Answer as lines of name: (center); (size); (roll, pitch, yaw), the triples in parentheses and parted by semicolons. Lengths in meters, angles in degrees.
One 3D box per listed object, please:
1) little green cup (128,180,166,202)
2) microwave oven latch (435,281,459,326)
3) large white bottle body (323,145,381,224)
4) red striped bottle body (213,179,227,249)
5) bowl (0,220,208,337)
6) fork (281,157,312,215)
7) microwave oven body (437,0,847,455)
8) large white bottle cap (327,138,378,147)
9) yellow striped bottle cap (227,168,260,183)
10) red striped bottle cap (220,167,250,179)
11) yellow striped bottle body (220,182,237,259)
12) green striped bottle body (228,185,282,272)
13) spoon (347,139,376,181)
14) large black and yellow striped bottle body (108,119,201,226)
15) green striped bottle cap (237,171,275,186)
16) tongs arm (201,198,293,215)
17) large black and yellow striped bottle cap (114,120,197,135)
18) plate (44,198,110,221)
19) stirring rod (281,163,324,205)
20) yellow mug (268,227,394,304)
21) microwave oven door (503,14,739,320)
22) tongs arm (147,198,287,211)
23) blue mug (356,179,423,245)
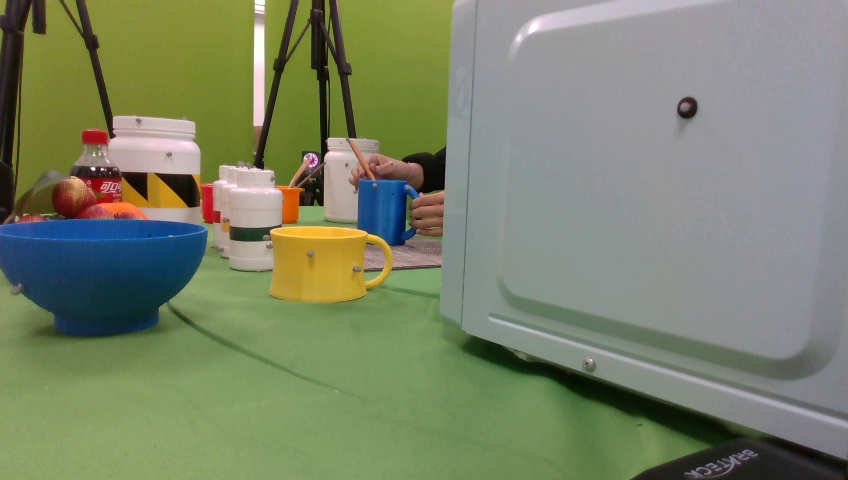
little green cup: (-0.485, -0.087, 1.062); (0.061, 0.038, 0.061); (-1, 6, 0)
microwave oven latch: (0.044, 0.046, 0.470); (0.079, 0.029, 0.030); (-3, 8, -40)
large white bottle body: (-0.163, -0.134, 1.369); (0.131, 0.184, 0.130); (2, 8, 0)
red striped bottle body: (-0.284, -0.048, 0.909); (0.063, 0.119, 0.063); (3, 10, 0)
bowl: (-0.251, 0.029, 0.479); (0.151, 0.077, 0.151); (2, 7, 0)
fork: (-0.289, -0.116, 1.321); (0.028, 0.019, 0.207); (6, 51, 19)
microwave oven body: (0.279, -0.040, 0.465); (0.444, 0.260, 0.324); (-3, 9, -41)
large white bottle cap: (-0.160, -0.218, 1.357); (0.115, 0.018, 0.115); (2, 8, 0)
yellow striped bottle cap: (-0.243, -0.087, 0.818); (0.044, 0.018, 0.044); (3, 6, 0)
red striped bottle cap: (-0.281, -0.100, 0.901); (0.044, 0.017, 0.044); (0, 5, 0)
yellow striped bottle body: (-0.246, -0.036, 0.825); (0.063, 0.120, 0.063); (3, 8, 0)
green striped bottle body: (-0.208, -0.023, 0.745); (0.063, 0.119, 0.063); (2, 7, 0)
spoon: (-0.087, -0.094, 1.027); (0.021, 0.193, 0.042); (-33, -18, 29)
large black and yellow striped bottle body: (-0.412, -0.088, 0.930); (0.131, 0.184, 0.130); (3, 7, 0)
green striped bottle cap: (-0.205, -0.075, 0.738); (0.044, 0.020, 0.044); (1, 7, 0)
tongs arm: (-0.423, -0.084, 1.472); (0.050, 0.026, 0.386); (2, 6, 21)
large black and yellow striped bottle cap: (-0.407, -0.171, 0.920); (0.115, 0.019, 0.115); (2, 9, 0)
plate: (-0.617, -0.056, 1.179); (0.209, 0.038, 0.209); (3, 7, 0)
stirring rod: (-0.278, -0.105, 1.293); (0.176, 0.006, 0.014); (-47, 25, -18)
yellow mug: (-0.094, 0.023, 0.630); (0.131, 0.064, 0.099); (0, 7, -22)
microwave oven door: (0.217, -0.065, 0.600); (0.358, 0.243, 0.039); (-4, 10, -41)
tongs arm: (-0.504, -0.091, 1.513); (0.028, 0.028, 0.389); (-1, 4, 37)
blue mug: (-0.056, -0.046, 1.005); (0.116, 0.106, 0.082); (6, 8, 22)
